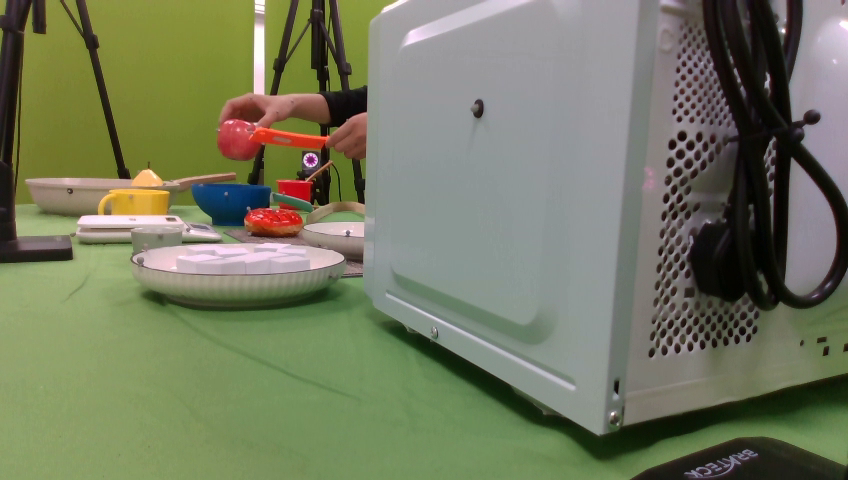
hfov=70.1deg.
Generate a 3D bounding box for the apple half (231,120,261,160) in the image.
[{"bbox_3d":[-0.333,-0.190,1.158,0.032,0.081,0.081,3,7,22],"label":"apple half"}]

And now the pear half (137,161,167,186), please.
[{"bbox_3d":[-0.602,-0.120,1.354,0.056,0.110,0.076,4,11,6],"label":"pear half"}]

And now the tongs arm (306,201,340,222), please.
[{"bbox_3d":[-0.235,-0.067,1.414,0.028,0.028,0.387,-5,7,0],"label":"tongs arm"}]

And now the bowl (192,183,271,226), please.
[{"bbox_3d":[-0.382,-0.071,1.202,0.151,0.077,0.151,3,7,0],"label":"bowl"}]

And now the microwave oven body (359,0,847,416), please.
[{"bbox_3d":[0.211,-0.047,0.474,0.444,0.260,0.324,-1,7,-28],"label":"microwave oven body"}]

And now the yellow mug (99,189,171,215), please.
[{"bbox_3d":[-0.518,-0.055,1.080,0.099,0.064,0.131,7,9,26],"label":"yellow mug"}]

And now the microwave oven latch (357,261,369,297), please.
[{"bbox_3d":[-0.019,0.033,0.530,0.079,0.029,0.030,-1,7,-26],"label":"microwave oven latch"}]

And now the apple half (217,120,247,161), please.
[{"bbox_3d":[-0.369,-0.192,1.171,0.053,0.074,0.081,3,0,21],"label":"apple half"}]

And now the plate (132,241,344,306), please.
[{"bbox_3d":[-0.187,0.033,0.625,0.208,0.039,0.207,2,7,0],"label":"plate"}]

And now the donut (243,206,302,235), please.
[{"bbox_3d":[-0.261,-0.032,1.043,0.099,0.048,0.099,4,9,0],"label":"donut"}]

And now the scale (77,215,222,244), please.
[{"bbox_3d":[-0.434,-0.019,0.963,0.202,0.031,0.148,-1,9,-26],"label":"scale"}]

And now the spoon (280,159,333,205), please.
[{"bbox_3d":[-0.316,-0.159,1.640,0.194,0.022,0.041,-49,32,-20],"label":"spoon"}]

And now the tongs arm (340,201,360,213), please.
[{"bbox_3d":[-0.149,-0.069,1.429,0.051,0.026,0.383,-4,8,-15],"label":"tongs arm"}]

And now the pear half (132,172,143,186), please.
[{"bbox_3d":[-0.638,-0.113,1.361,0.031,0.088,0.070,5,11,4],"label":"pear half"}]

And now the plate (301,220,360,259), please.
[{"bbox_3d":[-0.077,-0.001,0.893,0.209,0.038,0.209,3,8,0],"label":"plate"}]

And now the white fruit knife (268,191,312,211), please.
[{"bbox_3d":[-0.364,-0.105,1.464,0.208,0.027,0.016,15,1,-34],"label":"white fruit knife"}]

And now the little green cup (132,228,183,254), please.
[{"bbox_3d":[-0.342,0.006,0.779,0.061,0.038,0.061,2,8,0],"label":"little green cup"}]

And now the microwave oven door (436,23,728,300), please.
[{"bbox_3d":[0.180,-0.073,0.621,0.358,0.243,0.039,-2,9,-29],"label":"microwave oven door"}]

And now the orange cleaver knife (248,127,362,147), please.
[{"bbox_3d":[-0.211,-0.183,1.104,0.212,0.012,0.077,3,-9,-15],"label":"orange cleaver knife"}]

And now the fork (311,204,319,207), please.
[{"bbox_3d":[-0.356,-0.105,1.526,0.208,0.018,0.028,16,-7,-41],"label":"fork"}]

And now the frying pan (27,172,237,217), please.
[{"bbox_3d":[-0.624,-0.118,1.387,0.305,0.102,0.490,8,17,32],"label":"frying pan"}]
